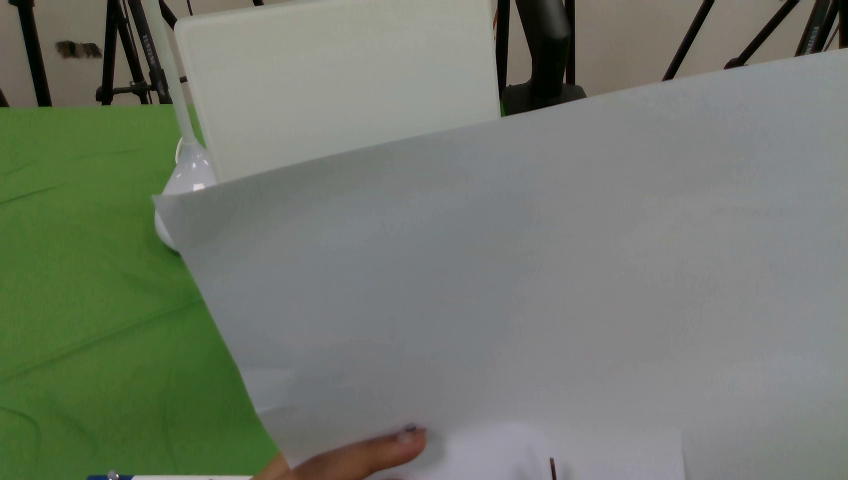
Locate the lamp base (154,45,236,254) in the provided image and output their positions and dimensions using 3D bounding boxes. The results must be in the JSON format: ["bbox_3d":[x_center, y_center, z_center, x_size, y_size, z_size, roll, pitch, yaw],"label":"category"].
[{"bbox_3d":[-0.229,-0.103,0.638,0.177,0.182,0.160,27,48,32],"label":"lamp base"}]

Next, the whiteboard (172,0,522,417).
[{"bbox_3d":[-0.056,-0.046,0.517,0.218,0.307,0.142,-15,23,-15],"label":"whiteboard"}]

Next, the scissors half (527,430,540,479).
[{"bbox_3d":[0.066,0.172,0.267,0.013,0.040,0.174,-12,81,4],"label":"scissors half"}]

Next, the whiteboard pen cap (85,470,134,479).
[{"bbox_3d":[-0.221,0.172,0.430,0.033,0.018,0.018,-1,40,-3],"label":"whiteboard pen cap"}]

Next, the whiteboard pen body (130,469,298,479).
[{"bbox_3d":[-0.161,0.172,0.432,0.141,0.017,0.017,1,40,-2],"label":"whiteboard pen body"}]

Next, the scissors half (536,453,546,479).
[{"bbox_3d":[0.066,0.169,0.291,0.013,0.176,0.040,-13,26,0],"label":"scissors half"}]

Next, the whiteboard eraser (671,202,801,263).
[{"bbox_3d":[0.318,-0.006,0.621,0.113,0.042,0.055,-7,42,-7],"label":"whiteboard eraser"}]
